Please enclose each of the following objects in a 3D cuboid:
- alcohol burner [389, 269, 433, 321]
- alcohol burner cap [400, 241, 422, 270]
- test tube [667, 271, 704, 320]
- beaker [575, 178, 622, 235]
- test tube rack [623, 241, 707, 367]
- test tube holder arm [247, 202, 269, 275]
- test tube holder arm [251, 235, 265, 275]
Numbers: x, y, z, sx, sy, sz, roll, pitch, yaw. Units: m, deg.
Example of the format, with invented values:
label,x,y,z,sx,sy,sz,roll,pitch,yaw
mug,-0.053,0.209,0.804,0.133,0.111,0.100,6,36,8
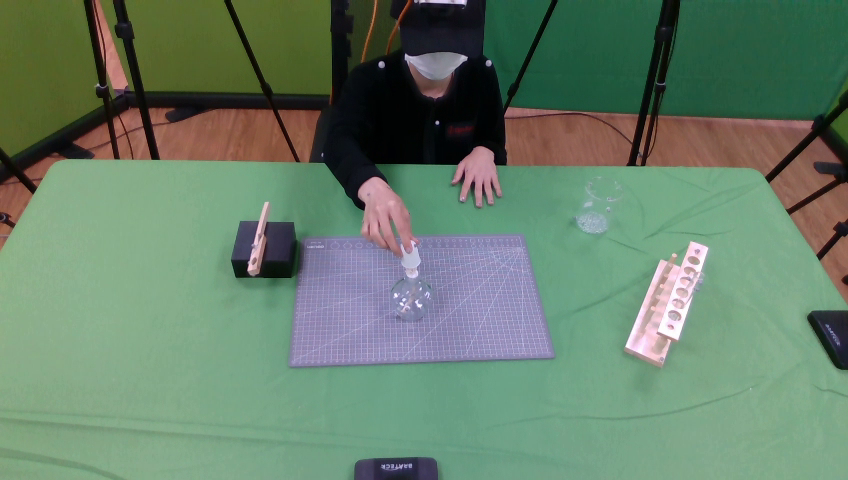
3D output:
label,x,y,z,sx,sy,sz,roll,pitch,yaw
alcohol burner,-0.022,0.085,1.046,0.078,0.119,0.077,2,48,-3
alcohol burner cap,-0.023,0.021,0.981,0.034,0.048,0.033,-7,45,7
test tube,0.432,0.104,1.019,0.017,0.151,0.017,3,48,-3
beaker,0.356,-0.068,1.240,0.084,0.101,0.073,-18,50,-21
test tube rack,0.435,0.104,1.089,0.066,0.085,0.242,24,49,19
test tube holder arm,-0.304,-0.006,1.116,0.013,0.015,0.177,-5,46,2
test tube holder arm,-0.297,0.025,1.085,0.010,0.015,0.087,-5,46,2
